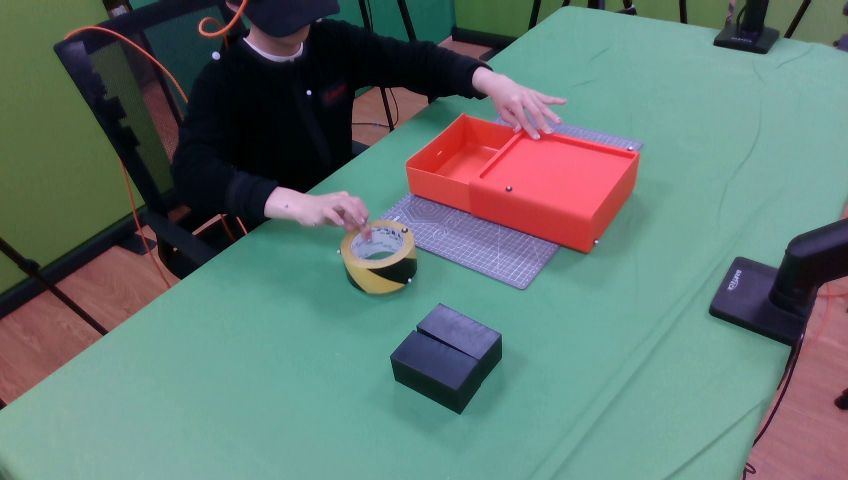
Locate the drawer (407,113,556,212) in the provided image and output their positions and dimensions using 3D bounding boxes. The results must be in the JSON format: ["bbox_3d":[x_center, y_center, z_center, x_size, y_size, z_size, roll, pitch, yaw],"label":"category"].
[{"bbox_3d":[0.111,-0.131,1.066,0.210,0.073,0.195,21,47,29],"label":"drawer"}]

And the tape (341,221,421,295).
[{"bbox_3d":[-0.064,0.026,0.909,0.117,0.053,0.116,-4,41,4],"label":"tape"}]

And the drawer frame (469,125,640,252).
[{"bbox_3d":[0.216,-0.093,1.003,0.212,0.083,0.202,20,47,28],"label":"drawer frame"}]
